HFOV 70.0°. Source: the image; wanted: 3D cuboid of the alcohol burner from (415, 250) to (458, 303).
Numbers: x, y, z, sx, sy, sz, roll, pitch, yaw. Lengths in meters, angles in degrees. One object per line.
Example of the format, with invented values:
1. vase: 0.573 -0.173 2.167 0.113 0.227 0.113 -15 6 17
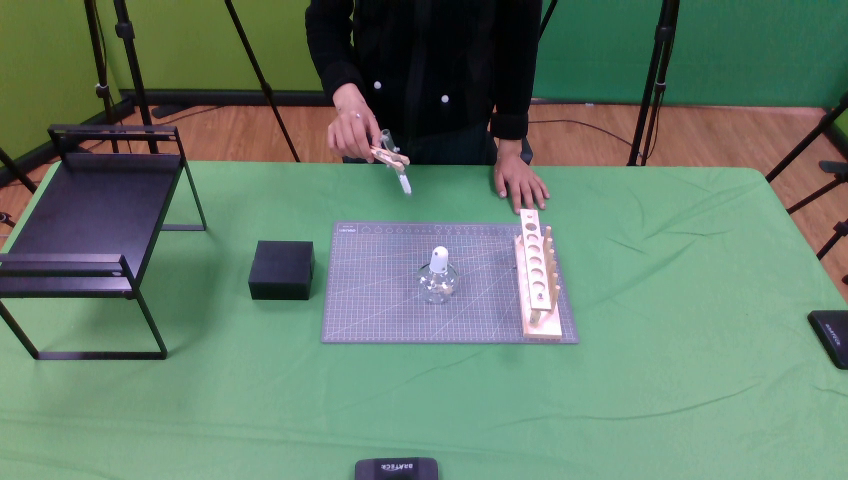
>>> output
1. alcohol burner: 0.024 0.057 1.078 0.078 0.119 0.077 3 44 -3

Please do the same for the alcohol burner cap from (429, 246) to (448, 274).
1. alcohol burner cap: 0.027 0.032 1.053 0.034 0.048 0.033 4 40 -3

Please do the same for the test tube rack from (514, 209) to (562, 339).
1. test tube rack: 0.212 0.056 1.113 0.067 0.085 0.241 3 46 -1

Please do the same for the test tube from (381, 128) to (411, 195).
1. test tube: -0.046 -0.132 1.042 0.017 0.151 0.017 -9 49 10

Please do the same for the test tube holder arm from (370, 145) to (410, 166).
1. test tube holder arm: -0.062 -0.147 1.050 0.087 0.015 0.010 21 58 31

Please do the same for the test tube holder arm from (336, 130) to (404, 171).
1. test tube holder arm: -0.099 -0.161 1.073 0.177 0.015 0.013 30 62 35
